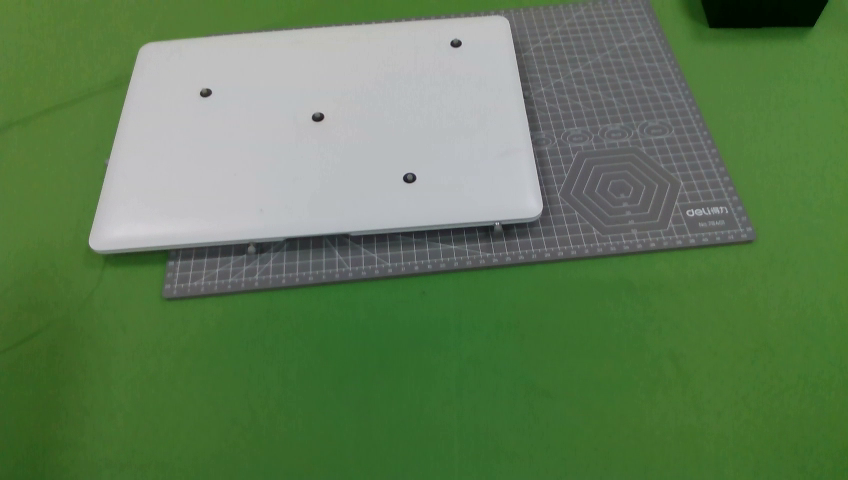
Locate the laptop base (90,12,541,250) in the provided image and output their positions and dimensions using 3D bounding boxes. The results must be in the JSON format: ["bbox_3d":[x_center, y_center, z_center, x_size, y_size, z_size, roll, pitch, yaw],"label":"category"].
[{"bbox_3d":[-0.090,-0.102,0.528,0.354,0.023,0.233,-4,61,0],"label":"laptop base"}]

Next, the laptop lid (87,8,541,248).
[{"bbox_3d":[-0.091,-0.107,0.517,0.357,0.013,0.239,-3,60,1],"label":"laptop lid"}]
